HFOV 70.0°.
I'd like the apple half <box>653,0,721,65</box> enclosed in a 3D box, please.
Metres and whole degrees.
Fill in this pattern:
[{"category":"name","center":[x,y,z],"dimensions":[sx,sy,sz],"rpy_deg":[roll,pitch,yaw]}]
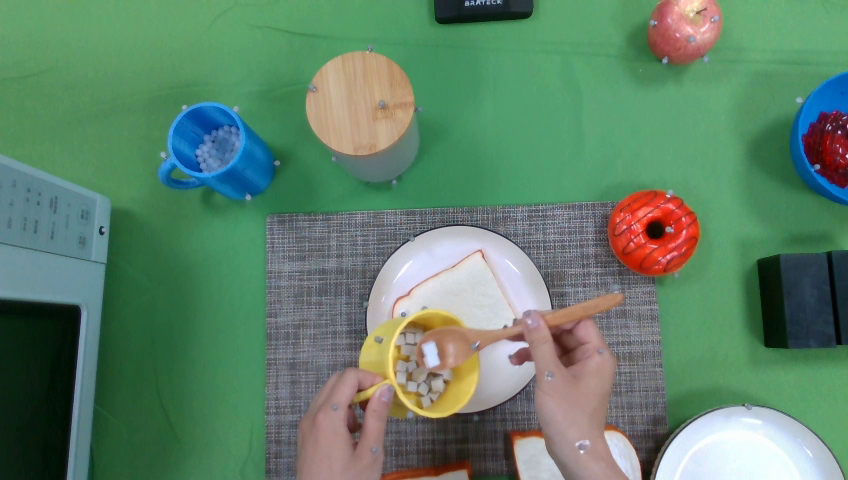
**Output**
[{"category":"apple half","center":[0.306,-0.247,0.698],"dimensions":[0.053,0.075,0.080],"rpy_deg":[-34,78,-8]}]

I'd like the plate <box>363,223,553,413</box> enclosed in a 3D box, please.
[{"category":"plate","center":[0.038,0.085,0.678],"dimensions":[0.207,0.039,0.207],"rpy_deg":[0,83,2]}]

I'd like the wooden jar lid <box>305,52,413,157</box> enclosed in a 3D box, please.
[{"category":"wooden jar lid","center":[-0.064,-0.134,0.608],"dimensions":[0.108,0.021,0.108],"rpy_deg":[0,80,3]}]

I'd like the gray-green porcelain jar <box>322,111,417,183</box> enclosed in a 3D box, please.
[{"category":"gray-green porcelain jar","center":[-0.061,-0.124,0.670],"dimensions":[0.106,0.127,0.105],"rpy_deg":[0,82,2]}]

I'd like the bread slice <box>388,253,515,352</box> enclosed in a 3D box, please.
[{"category":"bread slice","center":[0.028,0.088,0.680],"dimensions":[0.131,0.019,0.104],"rpy_deg":[-27,80,-4]}]

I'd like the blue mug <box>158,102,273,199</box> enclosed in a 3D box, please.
[{"category":"blue mug","center":[-0.240,-0.090,0.682],"dimensions":[0.116,0.106,0.082],"rpy_deg":[-27,81,-1]}]

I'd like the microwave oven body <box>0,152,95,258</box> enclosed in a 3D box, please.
[{"category":"microwave oven body","center":[-0.541,0.138,0.581],"dimensions":[0.326,0.261,0.440],"rpy_deg":[1,83,2]}]

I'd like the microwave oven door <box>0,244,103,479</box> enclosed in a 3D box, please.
[{"category":"microwave oven door","center":[-0.397,0.183,0.564],"dimensions":[0.039,0.244,0.354],"rpy_deg":[1,82,3]}]

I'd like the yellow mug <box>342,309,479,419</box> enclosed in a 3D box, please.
[{"category":"yellow mug","center":[-0.018,0.125,0.574],"dimensions":[0.131,0.064,0.100],"rpy_deg":[-21,88,-34]}]

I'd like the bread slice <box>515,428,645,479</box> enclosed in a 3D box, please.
[{"category":"bread slice","center":[0.167,0.254,0.627],"dimensions":[0.135,0.018,0.106],"rpy_deg":[-7,78,-19]}]

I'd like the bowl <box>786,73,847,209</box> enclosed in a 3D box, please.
[{"category":"bowl","center":[0.466,-0.099,0.669],"dimensions":[0.151,0.077,0.151],"rpy_deg":[0,82,3]}]

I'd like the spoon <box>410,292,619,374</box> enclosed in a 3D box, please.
[{"category":"spoon","center":[0.076,0.082,0.536],"dimensions":[0.193,0.021,0.041],"rpy_deg":[-19,94,21]}]

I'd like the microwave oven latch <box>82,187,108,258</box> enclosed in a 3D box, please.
[{"category":"microwave oven latch","center":[-0.384,-0.020,0.694],"dimensions":[0.030,0.029,0.079],"rpy_deg":[3,83,2]}]

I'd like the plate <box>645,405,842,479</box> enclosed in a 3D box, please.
[{"category":"plate","center":[0.335,0.279,0.644],"dimensions":[0.209,0.038,0.208],"rpy_deg":[0,82,2]}]

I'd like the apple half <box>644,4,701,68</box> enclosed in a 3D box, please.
[{"category":"apple half","center":[0.275,-0.224,0.695],"dimensions":[0.033,0.081,0.081],"rpy_deg":[-35,82,-7]}]

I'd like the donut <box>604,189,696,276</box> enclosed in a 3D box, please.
[{"category":"donut","center":[0.252,-0.008,0.679],"dimensions":[0.099,0.048,0.099],"rpy_deg":[0,83,2]}]
